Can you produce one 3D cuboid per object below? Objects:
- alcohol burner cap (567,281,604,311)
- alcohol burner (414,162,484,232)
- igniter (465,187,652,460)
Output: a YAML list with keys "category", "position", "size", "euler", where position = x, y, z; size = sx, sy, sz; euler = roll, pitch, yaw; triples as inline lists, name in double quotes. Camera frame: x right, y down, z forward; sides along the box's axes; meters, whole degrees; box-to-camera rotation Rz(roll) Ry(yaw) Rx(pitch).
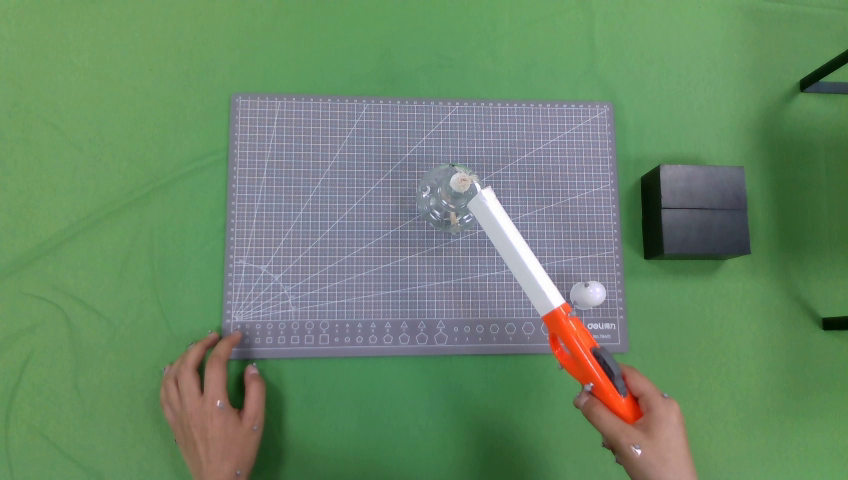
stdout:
- category: "alcohol burner cap"
  position: [0.182, 0.061, 0.674]
  size: [0.034, 0.048, 0.033]
  euler: [1, 79, -5]
- category: "alcohol burner"
  position: [0.030, -0.049, 0.642]
  size: [0.078, 0.119, 0.077]
  euler: [1, 81, -7]
- category: "igniter"
  position: [0.121, 0.073, 0.550]
  size: [0.025, 0.057, 0.275]
  euler: [-25, 79, -34]
